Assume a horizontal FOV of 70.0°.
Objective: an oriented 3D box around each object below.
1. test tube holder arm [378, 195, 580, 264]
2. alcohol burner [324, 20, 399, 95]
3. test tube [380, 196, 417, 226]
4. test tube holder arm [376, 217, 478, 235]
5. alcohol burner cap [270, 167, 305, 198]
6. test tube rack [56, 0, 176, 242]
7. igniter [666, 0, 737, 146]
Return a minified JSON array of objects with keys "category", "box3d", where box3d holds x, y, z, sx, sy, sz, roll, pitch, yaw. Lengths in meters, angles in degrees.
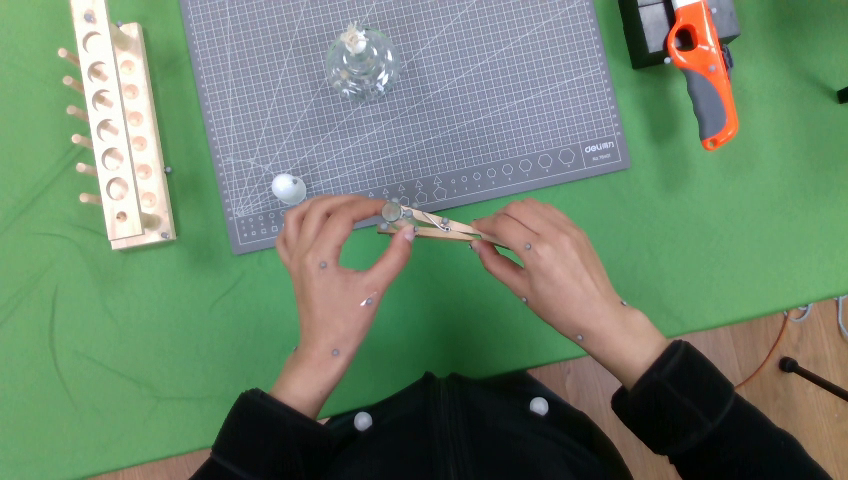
[{"category":"test tube holder arm","box3d":[0.047,-0.009,0.518,0.178,0.015,0.013,15,88,-1]},{"category":"alcohol burner","box3d":[-0.065,-0.190,0.616,0.078,0.119,0.078,0,89,0]},{"category":"test tube","box3d":[-0.019,-0.022,0.500,0.017,0.150,0.017,0,88,4]},{"category":"test tube holder arm","box3d":[0.003,-0.012,0.518,0.088,0.015,0.010,3,87,-1]},{"category":"alcohol burner cap","box3d":[-0.148,-0.063,0.647,0.034,0.048,0.034,0,87,-1]},{"category":"test tube rack","box3d":[-0.326,-0.123,0.628,0.067,0.085,0.242,-10,88,-1]},{"category":"igniter","box3d":[0.273,-0.234,0.621,0.057,0.025,0.276,-13,88,11]}]
